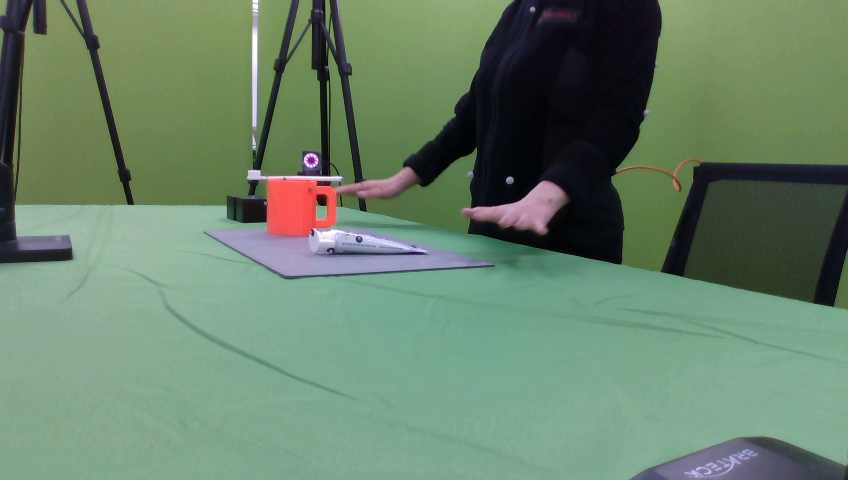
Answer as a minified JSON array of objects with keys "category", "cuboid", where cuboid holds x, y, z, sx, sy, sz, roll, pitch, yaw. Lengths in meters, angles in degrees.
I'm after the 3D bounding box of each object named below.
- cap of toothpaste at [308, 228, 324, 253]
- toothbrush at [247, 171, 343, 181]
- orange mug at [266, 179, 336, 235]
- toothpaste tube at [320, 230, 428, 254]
[{"category":"cap of toothpaste","cuboid":[-0.153,0.001,0.857,0.011,0.037,0.037,-5,10,-36]},{"category":"toothbrush","cuboid":[-0.230,-0.115,1.092,0.183,0.016,0.014,-2,5,-35]},{"category":"orange mug","cuboid":[-0.222,-0.062,1.094,0.127,0.101,0.083,-5,10,-22]},{"category":"toothpaste tube","cuboid":[-0.078,0.006,0.891,0.166,0.034,0.055,4,11,-26]}]
